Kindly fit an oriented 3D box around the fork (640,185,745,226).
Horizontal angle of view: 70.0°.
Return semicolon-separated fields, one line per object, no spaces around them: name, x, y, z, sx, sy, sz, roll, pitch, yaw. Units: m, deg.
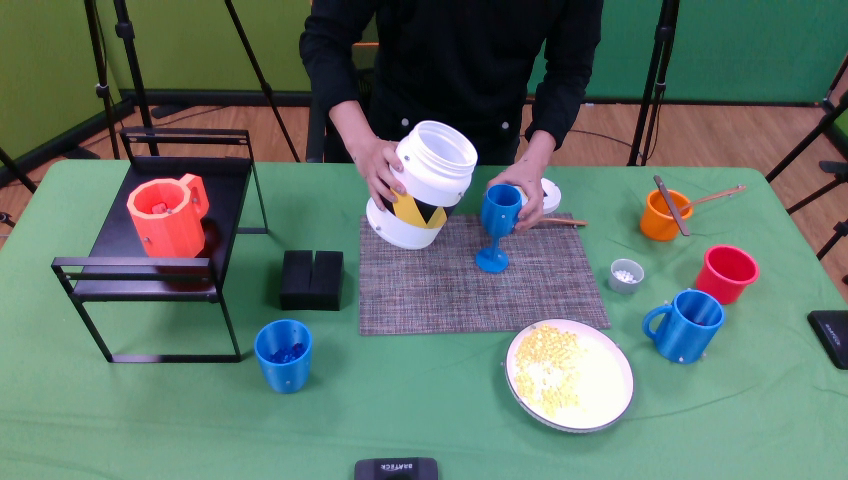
fork;0.534;-0.069;1.215;0.207;0.019;0.028;-26;27;33

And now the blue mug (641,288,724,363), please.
blue mug;0.432;0.144;1.033;0.116;0.106;0.082;8;46;4

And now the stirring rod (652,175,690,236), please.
stirring rod;0.492;-0.072;1.211;0.014;0.006;0.175;-1;46;-6

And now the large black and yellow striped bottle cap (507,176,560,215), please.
large black and yellow striped bottle cap;0.237;-0.098;1.312;0.115;0.019;0.114;2;43;-2

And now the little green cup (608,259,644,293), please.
little green cup;0.379;0.070;1.147;0.061;0.039;0.061;3;45;-3

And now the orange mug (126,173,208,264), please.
orange mug;-0.371;-0.039;0.902;0.083;0.101;0.126;18;52;13

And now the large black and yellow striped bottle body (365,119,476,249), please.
large black and yellow striped bottle body;-0.005;-0.090;0.983;0.131;0.184;0.130;20;38;-16

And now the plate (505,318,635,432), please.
plate;0.235;0.221;0.991;0.209;0.038;0.208;2;45;-2

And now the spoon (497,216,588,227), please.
spoon;0.245;-0.039;1.247;0.194;0.022;0.041;-1;25;-6

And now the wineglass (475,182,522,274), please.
wineglass;0.135;-0.021;1.115;0.074;0.173;0.073;2;46;-2

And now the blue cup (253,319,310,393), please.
blue cup;-0.217;0.187;0.943;0.093;0.101;0.092;3;45;-3
